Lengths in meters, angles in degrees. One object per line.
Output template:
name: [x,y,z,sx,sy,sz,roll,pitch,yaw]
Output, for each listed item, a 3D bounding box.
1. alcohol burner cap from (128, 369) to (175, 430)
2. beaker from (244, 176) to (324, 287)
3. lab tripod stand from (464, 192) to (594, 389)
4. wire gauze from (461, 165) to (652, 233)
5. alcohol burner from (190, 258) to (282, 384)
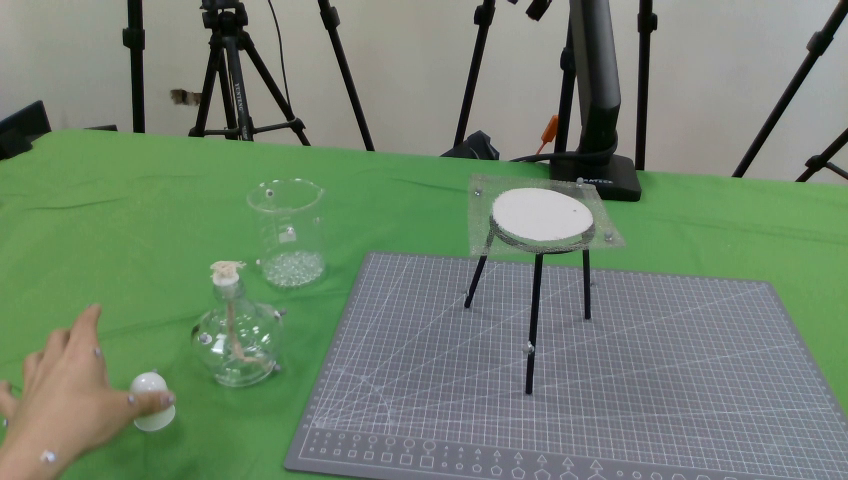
alcohol burner cap: [-0.223,0.126,0.490,0.034,0.048,0.033,4,32,-2]
beaker: [-0.143,-0.008,0.646,0.084,0.101,0.073,-19,39,-28]
lab tripod stand: [0.099,0.037,0.546,0.148,0.132,0.147,2,35,-1]
wire gauze: [0.106,-0.035,0.503,0.125,0.011,0.120,-3,28,-19]
alcohol burner: [-0.163,0.065,0.520,0.078,0.120,0.077,2,32,-1]
